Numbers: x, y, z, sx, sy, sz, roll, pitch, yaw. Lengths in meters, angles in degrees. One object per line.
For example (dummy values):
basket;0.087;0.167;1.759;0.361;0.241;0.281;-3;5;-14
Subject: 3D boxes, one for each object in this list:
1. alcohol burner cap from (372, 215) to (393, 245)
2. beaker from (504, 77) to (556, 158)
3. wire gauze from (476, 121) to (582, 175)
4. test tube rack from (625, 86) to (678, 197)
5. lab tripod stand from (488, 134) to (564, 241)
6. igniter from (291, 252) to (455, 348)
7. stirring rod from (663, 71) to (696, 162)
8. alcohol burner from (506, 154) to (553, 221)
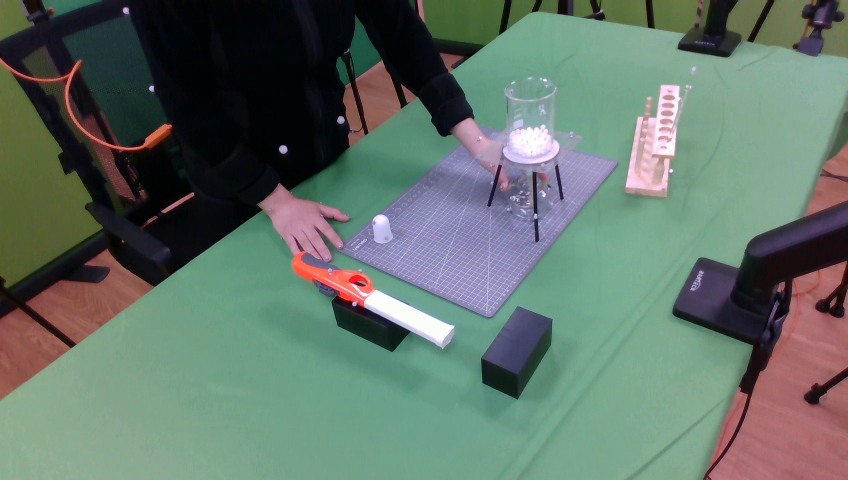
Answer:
alcohol burner cap;-0.070;-0.019;0.990;0.034;0.048;0.033;-4;41;4
beaker;0.160;-0.181;0.900;0.084;0.101;0.073;-32;46;-27
wire gauze;0.162;-0.141;0.929;0.120;0.011;0.125;19;49;32
test tube rack;0.412;-0.184;1.088;0.066;0.085;0.242;9;43;18
lab tripod stand;0.168;-0.092;0.972;0.148;0.132;0.147;-5;41;5
igniter;-0.080;0.076;0.822;0.274;0.025;0.057;23;46;27
stirring rod;0.411;-0.196;0.981;0.014;0.177;0.006;11;50;13
alcohol burner;0.172;-0.090;0.984;0.078;0.119;0.077;-5;42;5
